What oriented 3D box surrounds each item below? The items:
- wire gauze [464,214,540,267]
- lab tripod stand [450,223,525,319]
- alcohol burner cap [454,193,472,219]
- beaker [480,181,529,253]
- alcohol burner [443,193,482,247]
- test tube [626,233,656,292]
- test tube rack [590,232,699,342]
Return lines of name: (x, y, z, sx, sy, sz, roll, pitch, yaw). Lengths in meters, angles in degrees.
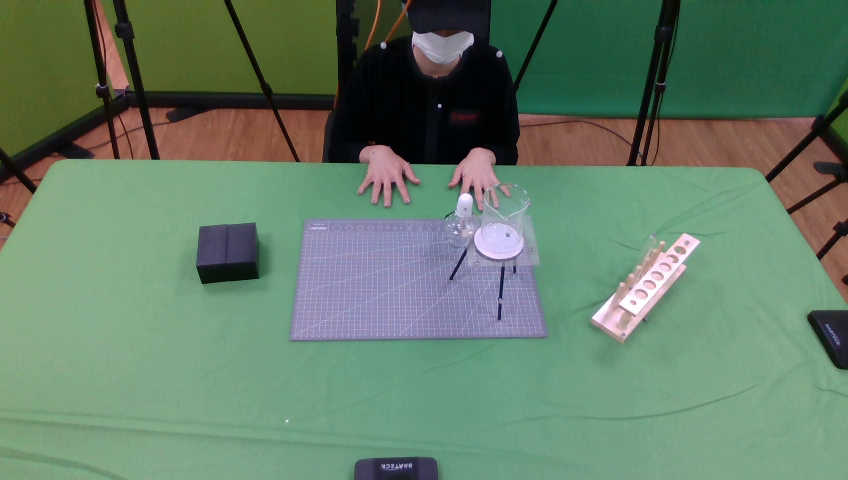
wire gauze: (0.131, -0.001, 1.035, 0.121, 0.011, 0.124, 1, 44, -2)
lab tripod stand: (0.120, 0.046, 1.080, 0.148, 0.132, 0.147, 1, 47, -1)
alcohol burner cap: (0.076, -0.068, 1.151, 0.034, 0.048, 0.033, 3, 46, -3)
beaker: (0.130, -0.033, 0.998, 0.074, 0.101, 0.083, 5, 47, 4)
alcohol burner: (0.075, -0.044, 1.177, 0.078, 0.120, 0.077, 1, 44, -1)
test tube: (0.384, 0.042, 1.079, 0.017, 0.151, 0.017, 1, 47, -1)
test tube rack: (0.407, 0.074, 1.112, 0.066, 0.085, 0.242, 35, 53, 26)
